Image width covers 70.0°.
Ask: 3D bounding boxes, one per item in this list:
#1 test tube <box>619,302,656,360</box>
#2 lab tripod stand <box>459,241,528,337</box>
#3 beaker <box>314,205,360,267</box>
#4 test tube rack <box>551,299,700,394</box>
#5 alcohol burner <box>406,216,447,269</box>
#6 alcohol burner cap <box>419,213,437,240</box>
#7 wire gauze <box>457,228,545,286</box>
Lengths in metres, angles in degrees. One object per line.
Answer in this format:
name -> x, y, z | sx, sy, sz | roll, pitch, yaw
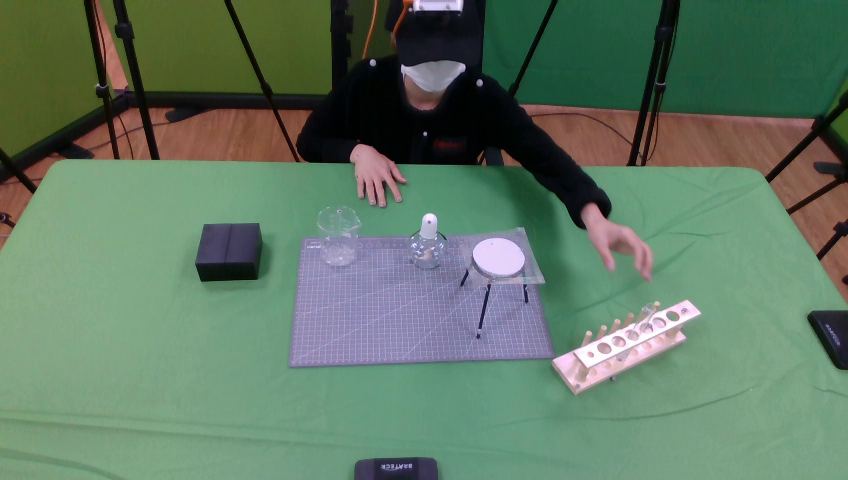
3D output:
test tube -> 0.339, 0.149, 0.968 | 0.017, 0.151, 0.017 | 2, 48, -2
lab tripod stand -> 0.122, 0.075, 1.054 | 0.148, 0.132, 0.147 | 3, 44, -3
beaker -> -0.160, -0.004, 1.132 | 0.084, 0.101, 0.073 | 9, 46, 3
test tube rack -> 0.339, 0.166, 1.021 | 0.242, 0.085, 0.066 | -19, 50, -21
alcohol burner -> 0.006, -0.002, 1.134 | 0.078, 0.120, 0.077 | 2, 48, -2
alcohol burner cap -> 0.009, -0.027, 1.109 | 0.034, 0.048, 0.033 | 3, 44, -3
wire gauze -> 0.126, 0.029, 1.006 | 0.125, 0.011, 0.120 | -4, 46, -10
